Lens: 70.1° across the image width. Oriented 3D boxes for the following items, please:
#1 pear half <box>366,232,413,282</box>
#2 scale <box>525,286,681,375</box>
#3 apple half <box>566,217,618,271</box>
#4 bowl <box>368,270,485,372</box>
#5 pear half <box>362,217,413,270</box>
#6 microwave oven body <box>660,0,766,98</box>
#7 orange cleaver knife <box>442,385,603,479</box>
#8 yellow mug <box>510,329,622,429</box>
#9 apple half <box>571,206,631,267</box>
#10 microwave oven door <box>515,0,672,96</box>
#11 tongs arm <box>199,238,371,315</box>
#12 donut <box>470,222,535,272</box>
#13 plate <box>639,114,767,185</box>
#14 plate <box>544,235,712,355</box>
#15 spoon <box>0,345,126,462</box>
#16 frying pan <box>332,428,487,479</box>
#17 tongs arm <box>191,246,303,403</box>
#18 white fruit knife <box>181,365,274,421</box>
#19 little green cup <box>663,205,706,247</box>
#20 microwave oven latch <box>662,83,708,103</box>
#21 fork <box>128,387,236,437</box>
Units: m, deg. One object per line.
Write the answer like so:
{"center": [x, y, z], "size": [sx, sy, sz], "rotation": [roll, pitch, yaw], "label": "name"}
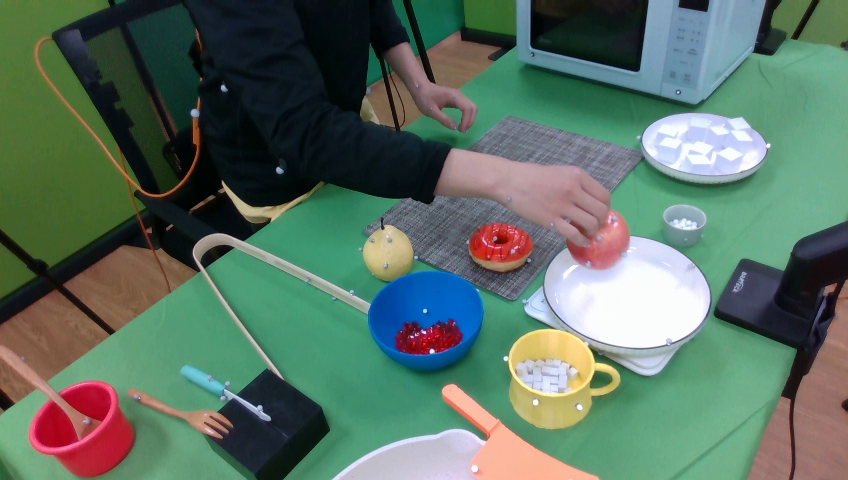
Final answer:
{"center": [-0.048, 0.031, 0.893], "size": [0.071, 0.088, 0.031], "rotation": [-16, 40, -14], "label": "pear half"}
{"center": [0.254, 0.091, 0.821], "size": [0.199, 0.032, 0.149], "rotation": [27, 51, 35], "label": "scale"}
{"center": [0.206, 0.013, 0.768], "size": [0.033, 0.082, 0.080], "rotation": [-36, 47, -21], "label": "apple half"}
{"center": [0.007, 0.119, 0.791], "size": [0.151, 0.077, 0.150], "rotation": [-5, 40, 4], "label": "bowl"}
{"center": [-0.059, 0.002, 0.913], "size": [0.076, 0.110, 0.055], "rotation": [-14, 40, -13], "label": "pear half"}
{"center": [0.472, -0.513, 1.317], "size": [0.438, 0.261, 0.327], "rotation": [26, 51, 34], "label": "microwave oven body"}
{"center": [0.086, 0.219, 0.612], "size": [0.209, 0.012, 0.077], "rotation": [28, 49, 35], "label": "orange cleaver knife"}
{"center": [0.168, 0.164, 0.721], "size": [0.130, 0.064, 0.099], "rotation": [0, 40, 8], "label": "yellow mug"}
{"center": [0.235, -0.009, 0.782], "size": [0.053, 0.075, 0.080], "rotation": [-35, 40, -21], "label": "apple half"}
{"center": [0.343, -0.454, 1.259], "size": [0.353, 0.245, 0.039], "rotation": [26, 51, 33], "label": "microwave oven door"}
{"center": [-0.209, 0.064, 0.924], "size": [0.381, 0.026, 0.051], "rotation": [22, 51, 32], "label": "tongs arm"}
{"center": [0.119, 0.010, 0.923], "size": [0.099, 0.048, 0.098], "rotation": [-3, 38, 3], "label": "donut"}
{"center": [0.489, -0.157, 1.074], "size": [0.207, 0.039, 0.206], "rotation": [-4, 40, 4], "label": "plate"}
{"center": [0.262, 0.072, 0.792], "size": [0.209, 0.038, 0.208], "rotation": [-4, 41, 4], "label": "plate"}
{"center": [-0.434, 0.191, 0.720], "size": [0.194, 0.021, 0.042], "rotation": [47, 53, -6], "label": "spoon"}
{"center": [-0.089, 0.306, 0.564], "size": [0.487, 0.103, 0.306], "rotation": [9, 41, 7], "label": "frying pan"}
{"center": [-0.268, 0.110, 0.881], "size": [0.028, 0.028, 0.384], "rotation": [-35, 45, -19], "label": "tongs arm"}
{"center": [-0.245, 0.188, 0.747], "size": [0.205, 0.027, 0.016], "rotation": [9, 41, 41], "label": "white fruit knife"}
{"center": [0.396, -0.020, 0.926], "size": [0.061, 0.039, 0.061], "rotation": [-4, 40, 4], "label": "little green cup"}
{"center": [0.518, -0.296, 1.204], "size": [0.078, 0.029, 0.030], "rotation": [28, 52, 35], "label": "microwave oven latch"}
{"center": [-0.305, 0.207, 0.744], "size": [0.206, 0.019, 0.028], "rotation": [3, 41, 35], "label": "fork"}
